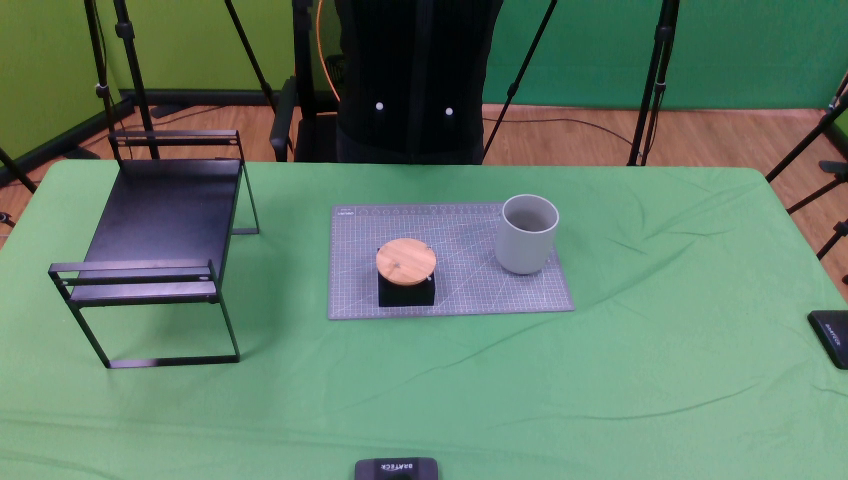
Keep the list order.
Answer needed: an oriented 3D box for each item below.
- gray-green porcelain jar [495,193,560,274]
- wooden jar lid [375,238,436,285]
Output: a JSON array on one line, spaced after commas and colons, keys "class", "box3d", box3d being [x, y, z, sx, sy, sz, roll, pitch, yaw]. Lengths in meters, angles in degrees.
[{"class": "gray-green porcelain jar", "box3d": [0.191, -0.007, 1.140, 0.106, 0.127, 0.105, 2, 46, -2]}, {"class": "wooden jar lid", "box3d": [-0.033, 0.040, 1.084, 0.108, 0.021, 0.107, 3, 46, -3]}]
